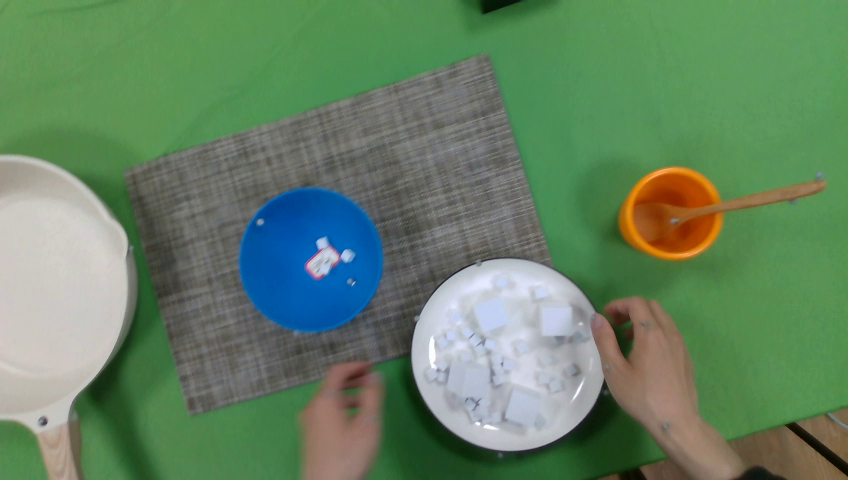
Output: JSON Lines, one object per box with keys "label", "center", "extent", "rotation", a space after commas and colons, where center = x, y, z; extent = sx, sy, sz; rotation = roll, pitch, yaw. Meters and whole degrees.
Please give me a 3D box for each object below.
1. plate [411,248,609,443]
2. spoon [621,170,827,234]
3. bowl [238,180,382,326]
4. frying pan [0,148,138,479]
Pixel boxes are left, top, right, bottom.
{"label": "plate", "center": [0.091, 0.111, 0.656], "extent": [0.207, 0.039, 0.207], "rotation": [0, 91, 5]}
{"label": "spoon", "center": [0.281, -0.038, 0.588], "extent": [0.022, 0.193, 0.041], "rotation": [-11, 88, -40]}
{"label": "bowl", "center": [-0.113, 0.014, 0.654], "extent": [0.151, 0.077, 0.151], "rotation": [0, 89, 5]}
{"label": "frying pan", "center": [-0.424, 0.141, 0.670], "extent": [0.307, 0.103, 0.485], "rotation": [-21, 79, 5]}
